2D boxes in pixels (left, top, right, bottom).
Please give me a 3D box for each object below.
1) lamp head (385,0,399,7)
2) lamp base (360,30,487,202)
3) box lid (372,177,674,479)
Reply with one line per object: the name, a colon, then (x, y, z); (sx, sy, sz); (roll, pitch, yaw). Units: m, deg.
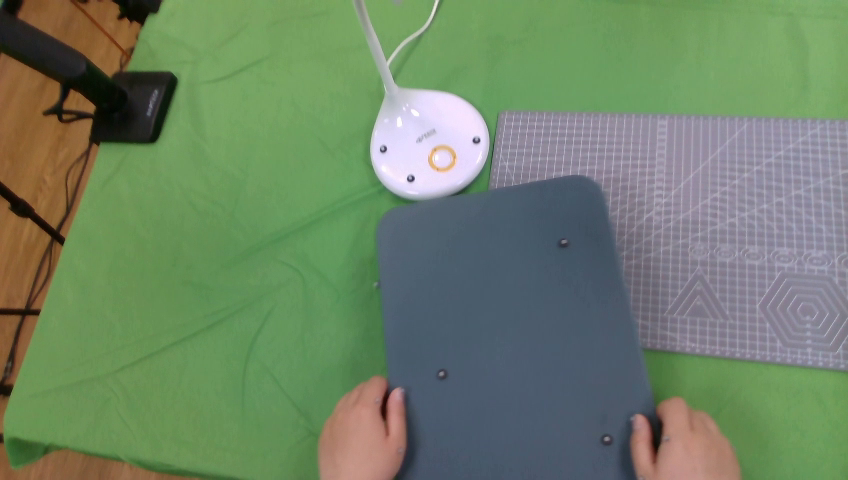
lamp head: (-0.033, -0.255, 0.449); (0.123, 0.112, 0.112); (36, 79, -12)
lamp base: (-0.021, -0.158, 0.733); (0.160, 0.182, 0.177); (-43, 64, -6)
box lid: (0.088, 0.114, 0.631); (0.263, 0.015, 0.368); (-10, 69, 5)
